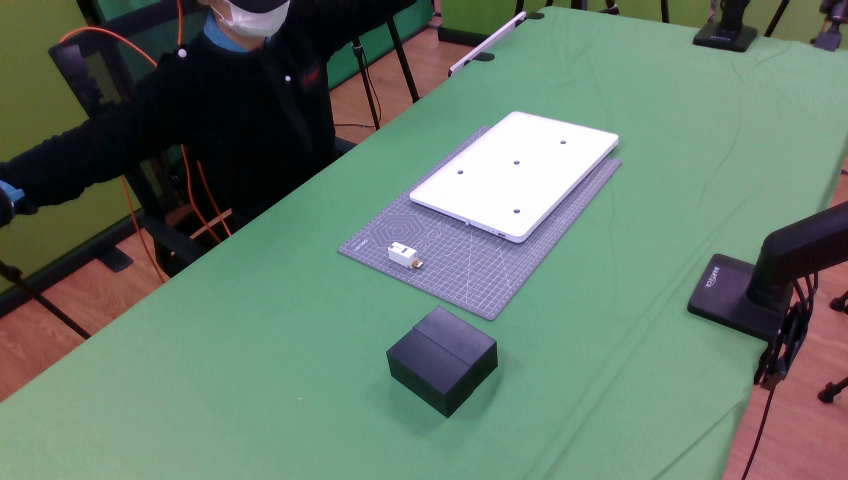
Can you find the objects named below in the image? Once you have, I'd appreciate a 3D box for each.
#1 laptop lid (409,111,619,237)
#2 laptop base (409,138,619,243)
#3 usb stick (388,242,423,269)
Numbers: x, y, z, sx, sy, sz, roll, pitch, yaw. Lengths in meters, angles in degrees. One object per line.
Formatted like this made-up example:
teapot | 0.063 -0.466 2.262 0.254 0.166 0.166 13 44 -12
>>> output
laptop lid | 0.167 -0.136 1.089 0.239 0.013 0.358 24 49 34
laptop base | 0.170 -0.126 1.096 0.233 0.023 0.355 21 47 34
usb stick | -0.028 0.026 0.934 0.059 0.027 0.021 25 49 29
